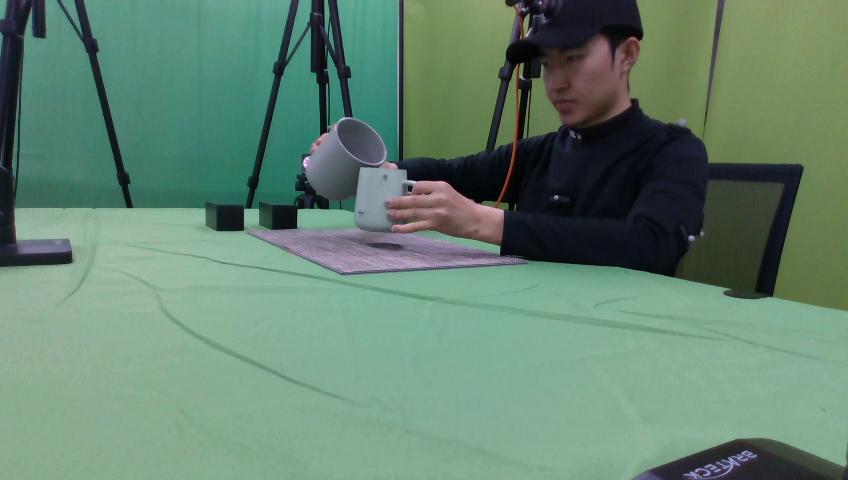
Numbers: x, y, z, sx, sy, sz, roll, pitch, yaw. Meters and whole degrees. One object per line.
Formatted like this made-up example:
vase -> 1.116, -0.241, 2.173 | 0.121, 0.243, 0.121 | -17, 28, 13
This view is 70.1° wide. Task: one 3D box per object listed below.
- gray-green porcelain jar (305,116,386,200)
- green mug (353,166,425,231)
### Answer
gray-green porcelain jar -> -0.145, -0.142, 1.086 | 0.106, 0.105, 0.126 | -5, -28, -46
green mug -> -0.056, -0.068, 1.004 | 0.125, 0.105, 0.093 | 6, 7, 24
